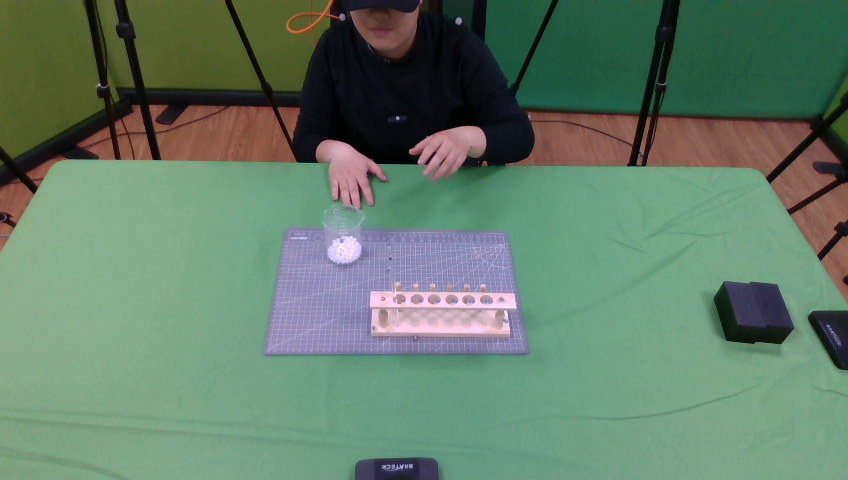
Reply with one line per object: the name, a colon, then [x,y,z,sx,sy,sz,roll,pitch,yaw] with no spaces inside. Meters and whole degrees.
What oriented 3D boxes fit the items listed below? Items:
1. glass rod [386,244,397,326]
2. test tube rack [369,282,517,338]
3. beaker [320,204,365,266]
glass rod: [-0.052,0.077,0.980,0.008,0.201,0.008,-1,45,1]
test tube rack: [0.030,0.116,1.041,0.242,0.085,0.066,1,46,-3]
beaker: [-0.151,-0.008,1.138,0.084,0.101,0.073,-12,49,-16]
